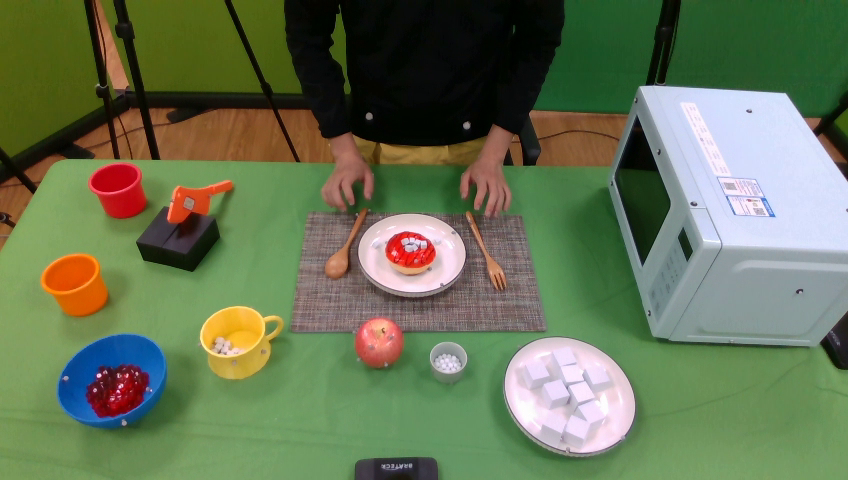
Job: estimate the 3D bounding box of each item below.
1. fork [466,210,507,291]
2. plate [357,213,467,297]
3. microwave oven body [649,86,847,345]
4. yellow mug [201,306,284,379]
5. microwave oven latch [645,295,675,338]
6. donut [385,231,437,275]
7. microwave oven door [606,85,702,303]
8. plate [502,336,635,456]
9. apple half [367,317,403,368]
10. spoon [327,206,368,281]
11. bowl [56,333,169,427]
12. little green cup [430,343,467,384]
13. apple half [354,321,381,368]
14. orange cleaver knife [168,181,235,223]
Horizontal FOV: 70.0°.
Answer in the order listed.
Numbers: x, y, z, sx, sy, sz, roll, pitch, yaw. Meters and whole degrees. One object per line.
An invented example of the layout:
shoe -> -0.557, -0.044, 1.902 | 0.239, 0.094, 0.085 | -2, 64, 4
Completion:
fork -> 0.119, 0.016, 1.188 | 0.028, 0.019, 0.206 | -16, 49, -4
plate -> -0.023, 0.032, 1.150 | 0.209, 0.038, 0.208 | 2, 46, -2
microwave oven body -> 0.568, -0.053, 1.118 | 0.326, 0.261, 0.439 | 2, 45, -1
yellow mug -> -0.291, 0.160, 0.993 | 0.131, 0.064, 0.099 | -23, 51, -25
microwave oven latch -> 0.412, 0.134, 1.061 | 0.030, 0.029, 0.078 | 3, 45, 0
donut -> -0.025, 0.024, 1.141 | 0.099, 0.048, 0.098 | 3, 44, -3
microwave oven door -> 0.423, -0.094, 1.140 | 0.039, 0.245, 0.353 | 2, 46, -1
plate -> 0.225, 0.248, 0.963 | 0.208, 0.039, 0.206 | 2, 46, -2
apple half -> -0.061, 0.167, 0.998 | 0.053, 0.075, 0.080 | -11, 44, -20
spoon -> -0.144, 0.002, 1.187 | 0.041, 0.022, 0.193 | 12, 47, 7
bowl -> -0.456, 0.223, 0.911 | 0.151, 0.077, 0.150 | 3, 45, -2
little green cup -> 0.039, 0.203, 0.993 | 0.061, 0.039, 0.061 | 2, 46, -2
apple half -> -0.097, 0.176, 0.985 | 0.033, 0.081, 0.080 | -12, 48, -20
orange cleaver knife -> -0.436, -0.078, 1.196 | 0.012, 0.077, 0.211 | 16, 15, 10
